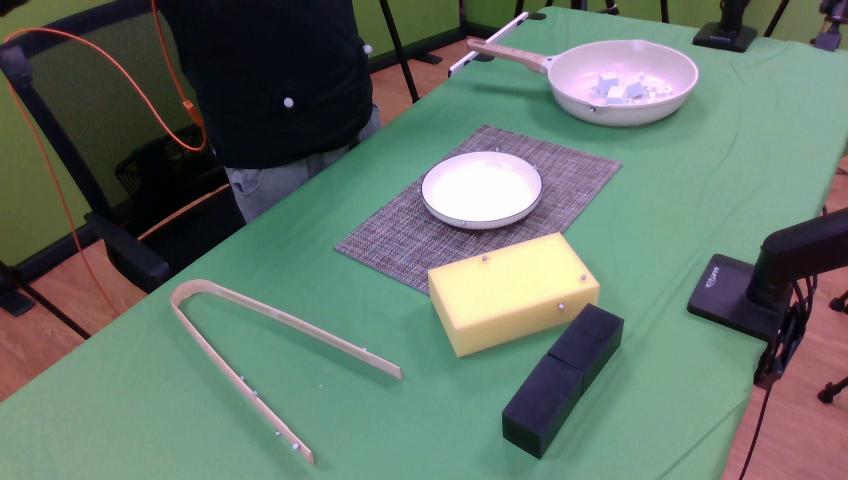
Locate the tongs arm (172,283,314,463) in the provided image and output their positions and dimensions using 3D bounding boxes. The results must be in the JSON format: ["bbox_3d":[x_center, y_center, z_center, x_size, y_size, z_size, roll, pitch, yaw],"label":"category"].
[{"bbox_3d":[-0.246,0.161,0.806,0.381,0.026,0.051,29,51,36],"label":"tongs arm"}]

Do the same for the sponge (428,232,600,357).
[{"bbox_3d":[0.120,0.071,0.834,0.207,0.061,0.117,-15,43,-12],"label":"sponge"}]

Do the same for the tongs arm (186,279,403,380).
[{"bbox_3d":[-0.193,0.120,0.853,0.385,0.028,0.028,17,48,27],"label":"tongs arm"}]

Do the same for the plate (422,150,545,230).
[{"bbox_3d":[0.101,-0.082,1.031,0.207,0.039,0.206,-4,40,4],"label":"plate"}]

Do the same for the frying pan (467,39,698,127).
[{"bbox_3d":[0.312,-0.359,1.277,0.485,0.103,0.307,23,48,19],"label":"frying pan"}]
